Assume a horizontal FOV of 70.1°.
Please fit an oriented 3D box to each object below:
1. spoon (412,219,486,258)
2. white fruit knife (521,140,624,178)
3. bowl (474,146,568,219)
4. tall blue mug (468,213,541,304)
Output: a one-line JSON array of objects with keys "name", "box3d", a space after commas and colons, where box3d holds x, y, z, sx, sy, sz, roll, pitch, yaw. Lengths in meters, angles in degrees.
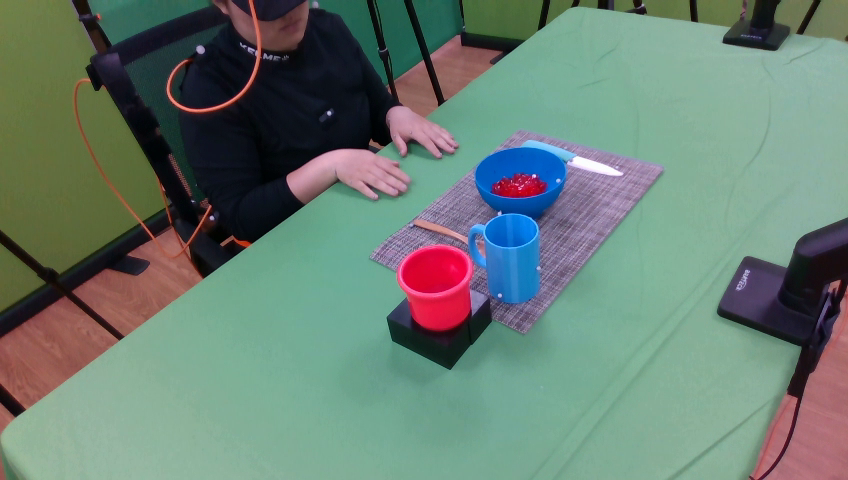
[{"name": "spoon", "box3d": [0.054, -0.005, 0.971, 0.192, 0.022, 0.041, 25, 68, 33]}, {"name": "white fruit knife", "box3d": [0.270, -0.149, 1.110, 0.206, 0.016, 0.027, 25, 80, 32]}, {"name": "bowl", "box3d": [0.161, -0.083, 1.000, 0.151, 0.077, 0.150, -5, 40, 5]}, {"name": "tall blue mug", "box3d": [0.111, 0.026, 0.856, 0.107, 0.108, 0.077, 2, 42, 13]}]
